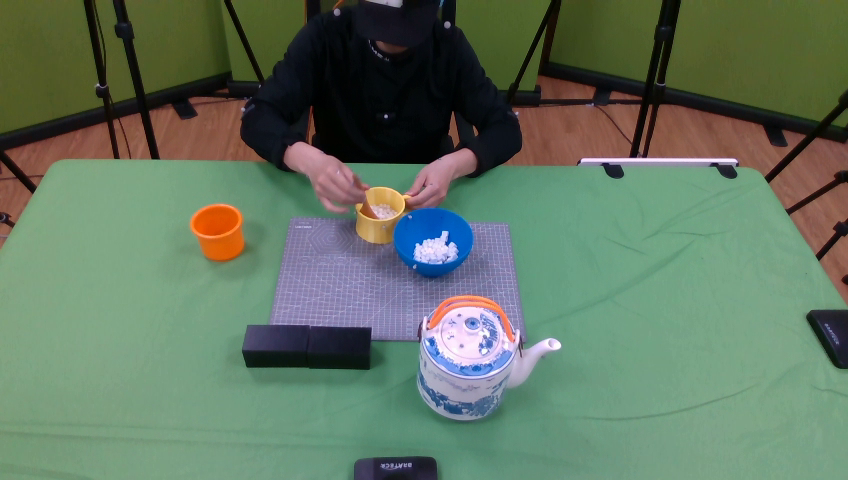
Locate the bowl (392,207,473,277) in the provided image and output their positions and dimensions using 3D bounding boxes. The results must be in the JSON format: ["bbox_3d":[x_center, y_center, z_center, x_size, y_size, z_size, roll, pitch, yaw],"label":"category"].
[{"bbox_3d":[0.014,0.016,1.140,0.151,0.077,0.150,2,46,-2],"label":"bowl"}]

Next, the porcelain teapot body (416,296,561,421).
[{"bbox_3d":[0.094,0.164,0.907,0.205,0.226,0.144,6,45,1],"label":"porcelain teapot body"}]

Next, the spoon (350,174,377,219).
[{"bbox_3d":[-0.118,-0.079,1.144,0.041,0.194,0.021,19,67,12],"label":"spoon"}]

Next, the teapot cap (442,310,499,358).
[{"bbox_3d":[0.068,0.133,0.880,0.085,0.044,0.084,4,45,-4],"label":"teapot cap"}]

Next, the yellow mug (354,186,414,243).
[{"bbox_3d":[-0.076,-0.057,1.211,0.131,0.064,0.099,-23,53,-25],"label":"yellow mug"}]
